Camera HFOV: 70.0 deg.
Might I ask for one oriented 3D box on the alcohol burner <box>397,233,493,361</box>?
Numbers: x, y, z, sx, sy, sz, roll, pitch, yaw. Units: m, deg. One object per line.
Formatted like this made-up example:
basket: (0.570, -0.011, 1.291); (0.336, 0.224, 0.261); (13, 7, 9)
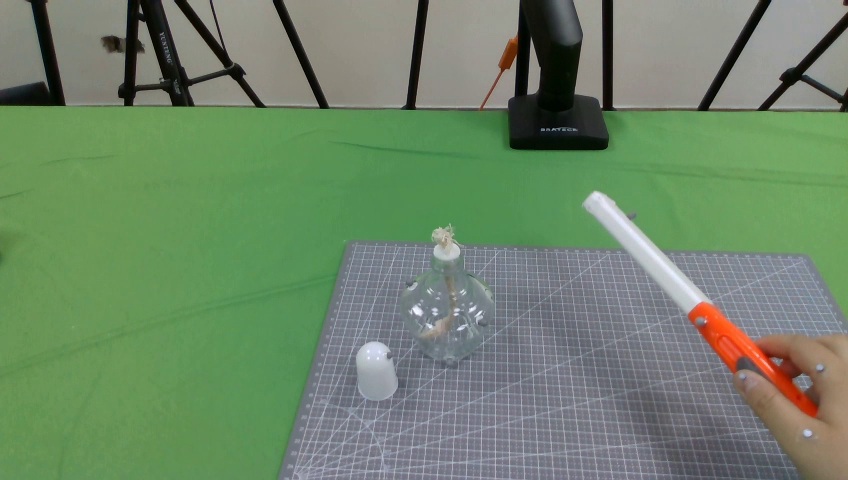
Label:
alcohol burner: (0.017, 0.040, 0.479); (0.078, 0.120, 0.077); (0, 41, 0)

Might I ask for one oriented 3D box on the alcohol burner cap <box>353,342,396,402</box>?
alcohol burner cap: (-0.039, 0.098, 0.468); (0.034, 0.048, 0.033); (-1, 41, 1)

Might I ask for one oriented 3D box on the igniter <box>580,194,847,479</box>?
igniter: (0.203, 0.059, 0.430); (0.058, 0.025, 0.273); (15, 32, -44)
